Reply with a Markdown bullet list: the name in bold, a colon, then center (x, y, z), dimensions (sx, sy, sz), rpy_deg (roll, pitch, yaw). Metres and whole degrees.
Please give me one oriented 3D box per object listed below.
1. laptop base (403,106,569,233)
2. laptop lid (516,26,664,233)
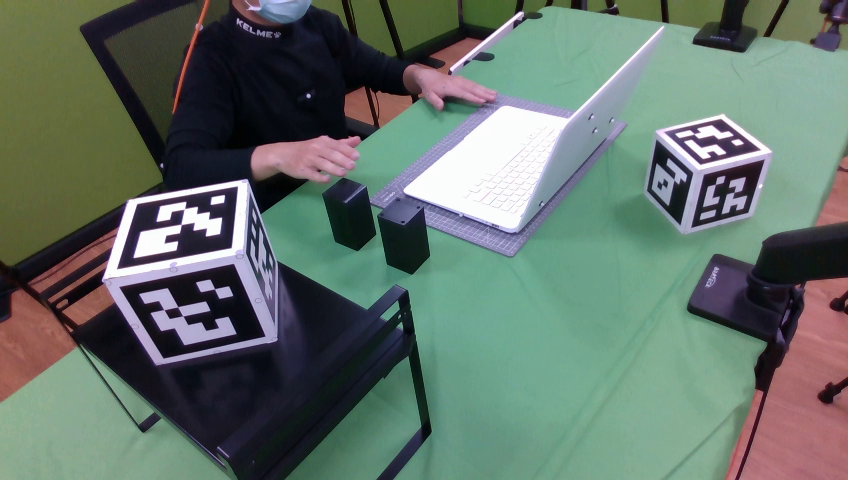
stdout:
- **laptop base**: center (0.156, -0.144, 1.116), dimensions (0.233, 0.023, 0.355), rpy_deg (20, 47, 32)
- **laptop lid**: center (0.268, -0.178, 0.966), dimensions (0.013, 0.242, 0.357), rpy_deg (35, 52, 16)
